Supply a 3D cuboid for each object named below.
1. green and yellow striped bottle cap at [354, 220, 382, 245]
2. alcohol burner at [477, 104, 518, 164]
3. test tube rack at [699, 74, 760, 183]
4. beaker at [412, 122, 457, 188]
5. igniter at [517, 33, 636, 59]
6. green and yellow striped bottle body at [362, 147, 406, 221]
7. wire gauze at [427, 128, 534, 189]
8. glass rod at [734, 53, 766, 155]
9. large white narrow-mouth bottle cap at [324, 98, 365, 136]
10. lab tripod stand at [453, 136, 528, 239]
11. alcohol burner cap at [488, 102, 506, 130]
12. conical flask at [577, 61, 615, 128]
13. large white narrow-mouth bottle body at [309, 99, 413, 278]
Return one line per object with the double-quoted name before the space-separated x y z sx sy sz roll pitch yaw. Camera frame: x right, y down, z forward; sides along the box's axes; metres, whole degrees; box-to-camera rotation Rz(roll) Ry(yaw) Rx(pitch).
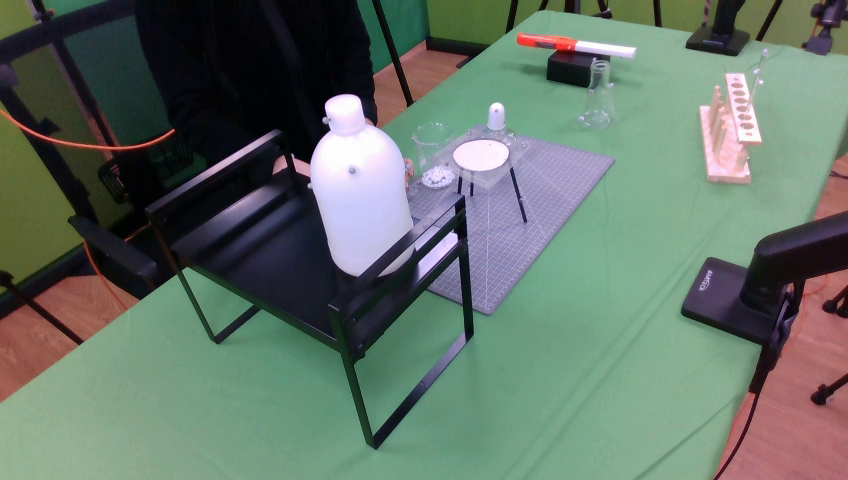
"green and yellow striped bottle cap" -0.094 -0.013 0.999 0.045 0.020 0.045 -3 37 3
"alcohol burner" 0.135 -0.200 1.117 0.078 0.119 0.077 -4 43 4
"test tube rack" 0.547 -0.208 1.095 0.066 0.085 0.242 6 42 16
"beaker" 0.022 -0.152 1.088 0.073 0.100 0.084 13 44 21
"igniter" 0.336 -0.441 1.369 0.275 0.025 0.057 16 41 23
"green and yellow striped bottle body" -0.068 -0.097 1.019 0.063 0.120 0.063 -4 40 4
"wire gauze" 0.086 -0.131 0.924 0.124 0.011 0.122 26 52 33
"glass rod" 0.540 -0.220 1.007 0.008 0.201 0.008 -5 46 6
"large white narrow-mouth bottle cap" -0.076 -0.120 0.585 0.038 0.024 0.037 -3 42 3
"lab tripod stand" 0.094 -0.086 0.974 0.148 0.132 0.147 -4 43 4
"alcohol burner cap" 0.133 -0.227 1.092 0.034 0.048 0.033 -1 47 2
"conical flask" 0.343 -0.288 1.188 0.075 0.122 0.075 -4 41 4
"large white narrow-mouth bottle body" -0.068 -0.057 0.644 0.102 0.195 0.101 -3 42 4
